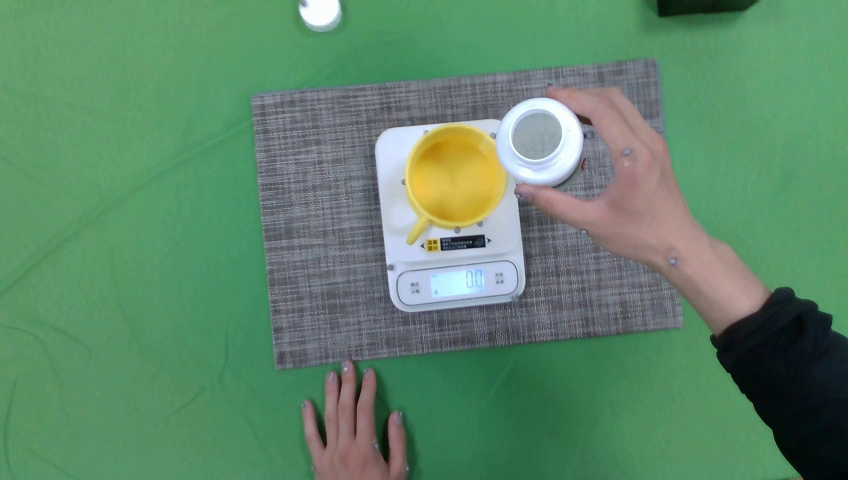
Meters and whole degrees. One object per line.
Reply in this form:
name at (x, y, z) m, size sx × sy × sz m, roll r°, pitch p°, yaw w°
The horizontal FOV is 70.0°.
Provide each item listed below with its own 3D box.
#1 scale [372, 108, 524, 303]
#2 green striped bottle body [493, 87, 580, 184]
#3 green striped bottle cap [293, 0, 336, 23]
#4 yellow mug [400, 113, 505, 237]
scale at (0.026, -0.037, 0.651) m, size 0.149 × 0.031 × 0.201 m, roll -6°, pitch 90°, yaw -1°
green striped bottle body at (0.089, -0.079, 0.468) m, size 0.063 × 0.119 × 0.063 m, roll 0°, pitch 90°, yaw 14°
green striped bottle cap at (-0.120, -0.262, 0.662) m, size 0.044 × 0.020 × 0.044 m, roll 0°, pitch 92°, yaw -1°
yellow mug at (0.018, -0.058, 0.604) m, size 0.100 × 0.064 × 0.131 m, roll 34°, pitch 89°, yaw -1°
